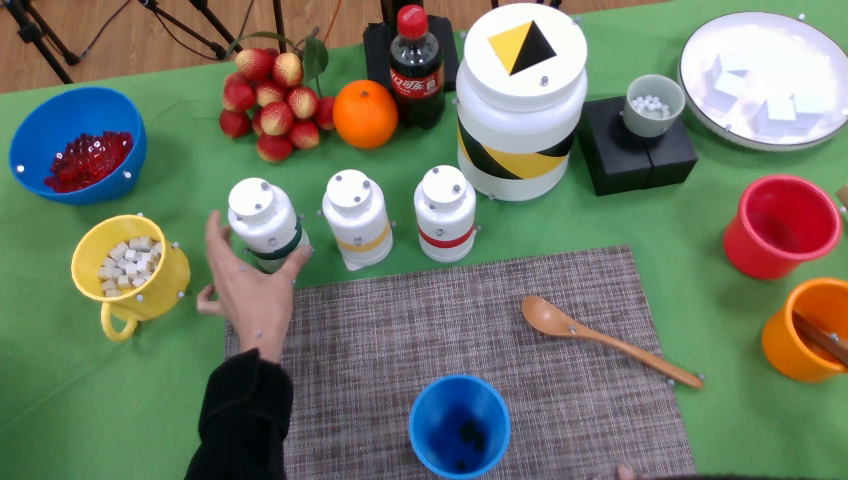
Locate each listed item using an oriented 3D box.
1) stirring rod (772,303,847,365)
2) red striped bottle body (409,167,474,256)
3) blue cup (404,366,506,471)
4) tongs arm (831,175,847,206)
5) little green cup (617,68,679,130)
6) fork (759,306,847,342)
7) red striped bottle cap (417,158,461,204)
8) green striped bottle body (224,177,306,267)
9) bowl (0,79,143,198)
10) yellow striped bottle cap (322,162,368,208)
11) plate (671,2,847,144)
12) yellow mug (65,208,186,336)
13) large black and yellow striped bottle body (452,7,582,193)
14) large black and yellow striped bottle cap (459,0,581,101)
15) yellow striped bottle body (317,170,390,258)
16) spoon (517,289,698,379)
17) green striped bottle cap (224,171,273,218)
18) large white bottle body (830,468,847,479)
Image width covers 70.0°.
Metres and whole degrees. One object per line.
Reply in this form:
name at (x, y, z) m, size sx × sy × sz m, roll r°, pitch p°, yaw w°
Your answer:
stirring rod at (0.372, 0.098, 0.548) m, size 0.014 × 0.006 × 0.175 m, roll -6°, pitch 21°, yaw -2°
red striped bottle body at (0.020, -0.035, 0.636) m, size 0.063 × 0.121 × 0.062 m, roll -3°, pitch 63°, yaw 6°
blue cup at (0.027, 0.169, 0.547) m, size 0.092 × 0.101 × 0.092 m, roll -1°, pitch 63°, yaw 1°
tongs arm at (0.545, 0.086, 0.598) m, size 0.051 × 0.027 × 0.381 m, roll -19°, pitch 66°, yaw -8°
little green cup at (0.245, -0.154, 0.669) m, size 0.061 × 0.039 × 0.061 m, roll -1°, pitch 63°, yaw 2°
fork at (0.403, 0.095, 0.539) m, size 0.028 × 0.019 × 0.205 m, roll -45°, pitch 26°, yaw -16°
red striped bottle cap at (0.015, -0.058, 0.589) m, size 0.044 × 0.018 × 0.044 m, roll 1°, pitch 63°, yaw -1°
green striped bottle body at (-0.168, -0.022, 0.640) m, size 0.063 × 0.120 × 0.062 m, roll -1°, pitch 64°, yaw 3°
bowl at (-0.395, -0.105, 0.713) m, size 0.151 × 0.077 × 0.150 m, roll -1°, pitch 65°, yaw 2°
yellow striped bottle cap at (-0.077, -0.054, 0.593) m, size 0.044 × 0.019 × 0.044 m, roll -1°, pitch 66°, yaw 2°
plate at (0.404, -0.201, 0.739) m, size 0.209 × 0.038 × 0.207 m, roll -1°, pitch 65°, yaw 2°
yellow mug at (-0.321, 0.038, 0.650) m, size 0.100 × 0.064 × 0.130 m, roll 2°, pitch 66°, yaw 2°
large black and yellow striped bottle body at (0.095, -0.147, 0.649) m, size 0.131 × 0.185 × 0.129 m, roll -1°, pitch 65°, yaw 3°
large black and yellow striped bottle cap at (0.090, -0.182, 0.573) m, size 0.115 × 0.019 × 0.114 m, roll -1°, pitch 64°, yaw 3°
yellow striped bottle body at (-0.074, -0.032, 0.639) m, size 0.063 × 0.121 × 0.062 m, roll -2°, pitch 65°, yaw 4°
spoon at (0.185, 0.098, 0.616) m, size 0.193 × 0.022 × 0.041 m, roll 22°, pitch 43°, yaw 12°
green striped bottle cap at (-0.172, -0.045, 0.593) m, size 0.044 × 0.020 × 0.044 m, roll -1°, pitch 63°, yaw 2°
large white bottle body at (0.405, 0.229, 0.457) m, size 0.130 × 0.186 × 0.129 m, roll -1°, pitch 64°, yaw 3°
